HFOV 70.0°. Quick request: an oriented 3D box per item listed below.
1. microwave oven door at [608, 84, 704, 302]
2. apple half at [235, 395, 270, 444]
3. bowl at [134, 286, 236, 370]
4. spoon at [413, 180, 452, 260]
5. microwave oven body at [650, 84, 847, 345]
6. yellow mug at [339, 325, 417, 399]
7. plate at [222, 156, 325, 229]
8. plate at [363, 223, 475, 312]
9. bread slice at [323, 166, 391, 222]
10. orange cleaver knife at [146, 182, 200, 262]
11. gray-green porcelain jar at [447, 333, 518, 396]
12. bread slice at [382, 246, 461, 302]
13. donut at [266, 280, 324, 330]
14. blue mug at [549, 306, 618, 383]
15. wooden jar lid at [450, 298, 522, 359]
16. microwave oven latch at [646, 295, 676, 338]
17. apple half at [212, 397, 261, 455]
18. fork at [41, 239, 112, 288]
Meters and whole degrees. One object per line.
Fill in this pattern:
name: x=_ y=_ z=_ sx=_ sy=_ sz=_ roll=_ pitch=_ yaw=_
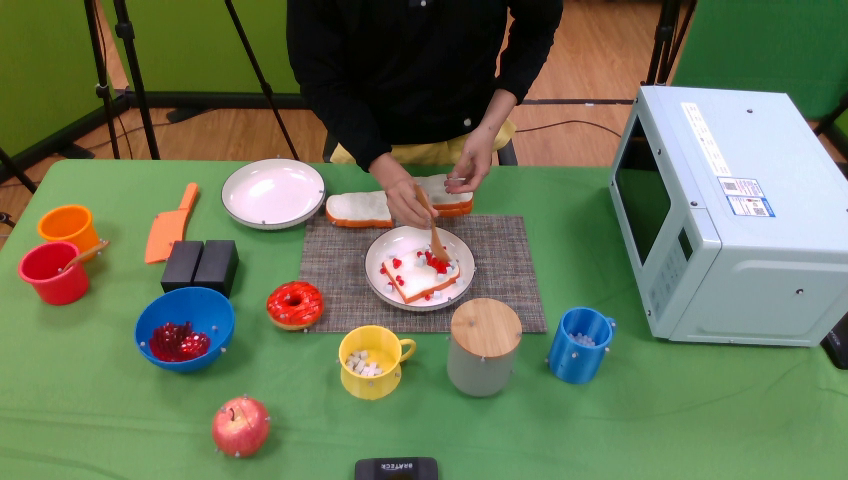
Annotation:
microwave oven door: x=0.424 y=-0.096 z=1.138 sx=0.039 sy=0.245 sz=0.353 roll=2 pitch=47 yaw=-1
apple half: x=-0.245 y=0.260 z=0.893 sx=0.033 sy=0.082 sz=0.081 roll=-29 pitch=55 yaw=-22
bowl: x=-0.377 y=0.156 z=0.981 sx=0.151 sy=0.077 sz=0.150 roll=2 pitch=46 yaw=-2
spoon: x=0.013 y=-0.032 z=1.076 sx=0.041 sy=0.195 sz=0.021 roll=22 pitch=54 yaw=40
microwave oven body: x=0.569 y=-0.054 z=1.116 sx=0.326 sy=0.261 sz=0.439 roll=2 pitch=46 yaw=-1
yellow mug: x=-0.072 y=0.191 z=0.978 sx=0.131 sy=0.064 sz=0.099 roll=-17 pitch=50 yaw=-20
plate: x=-0.308 y=-0.094 z=1.251 sx=0.209 sy=0.038 sz=0.208 roll=2 pitch=46 yaw=-2
plate: x=-0.009 y=0.054 z=1.126 sx=0.208 sy=0.039 sz=0.206 roll=2 pitch=46 yaw=-2
bread slice: x=-0.140 y=-0.092 z=1.224 sx=0.134 sy=0.018 sz=0.106 roll=-19 pitch=51 yaw=5
orange cleaver knife: x=-0.494 y=-0.039 z=1.198 sx=0.077 sy=0.012 sz=0.210 roll=-3 pitch=48 yaw=2
gray-green porcelain jar: x=0.091 y=0.178 z=0.960 sx=0.106 sy=0.127 sz=0.105 roll=2 pitch=46 yaw=-2
bread slice: x=0.000 y=0.053 z=1.127 sx=0.132 sy=0.019 sz=0.104 roll=-19 pitch=51 yaw=-22
donut: x=-0.223 y=0.113 z=1.051 sx=0.099 sy=0.048 sz=0.098 roll=2 pitch=45 yaw=-2
blue mug: x=0.269 y=0.167 z=0.997 sx=0.116 sy=0.106 sz=0.082 roll=-19 pitch=50 yaw=-21
wooden jar lid: x=0.093 y=0.135 z=0.914 sx=0.108 sy=0.021 sz=0.107 roll=3 pitch=48 yaw=-3
microwave oven latch: x=0.413 y=0.133 z=1.060 sx=0.030 sy=0.029 sz=0.078 roll=4 pitch=46 yaw=1
apple half: x=-0.276 y=0.276 z=0.877 sx=0.053 sy=0.075 sz=0.080 roll=-29 pitch=58 yaw=-20
fork: x=-0.591 y=0.040 z=1.028 sx=0.207 sy=0.019 sz=0.028 roll=-27 pitch=36 yaw=29
